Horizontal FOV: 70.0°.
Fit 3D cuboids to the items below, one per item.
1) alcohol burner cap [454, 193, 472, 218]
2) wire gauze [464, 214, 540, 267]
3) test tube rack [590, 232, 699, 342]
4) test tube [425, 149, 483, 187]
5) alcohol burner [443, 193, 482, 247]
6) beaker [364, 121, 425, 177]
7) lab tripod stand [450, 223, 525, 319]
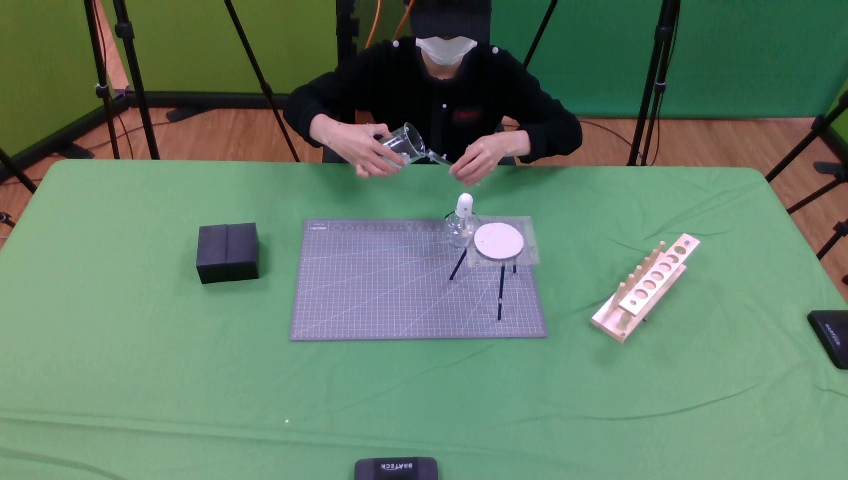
[{"bbox_3d":[0.076,-0.068,1.151,0.034,0.048,0.033,4,46,-4],"label":"alcohol burner cap"},{"bbox_3d":[0.131,-0.002,1.034,0.121,0.011,0.124,1,45,-2],"label":"wire gauze"},{"bbox_3d":[0.407,0.074,1.112,0.066,0.085,0.242,35,53,26],"label":"test tube rack"},{"bbox_3d":[0.062,-0.143,1.219,0.151,0.017,0.017,27,37,-31],"label":"test tube"},{"bbox_3d":[0.075,-0.044,1.177,0.078,0.120,0.077,2,44,-1],"label":"alcohol burner"},{"bbox_3d":[-0.057,-0.171,1.170,0.100,0.084,0.073,-25,51,22],"label":"beaker"},{"bbox_3d":[0.120,0.046,1.080,0.148,0.132,0.147,1,47,-1],"label":"lab tripod stand"}]
